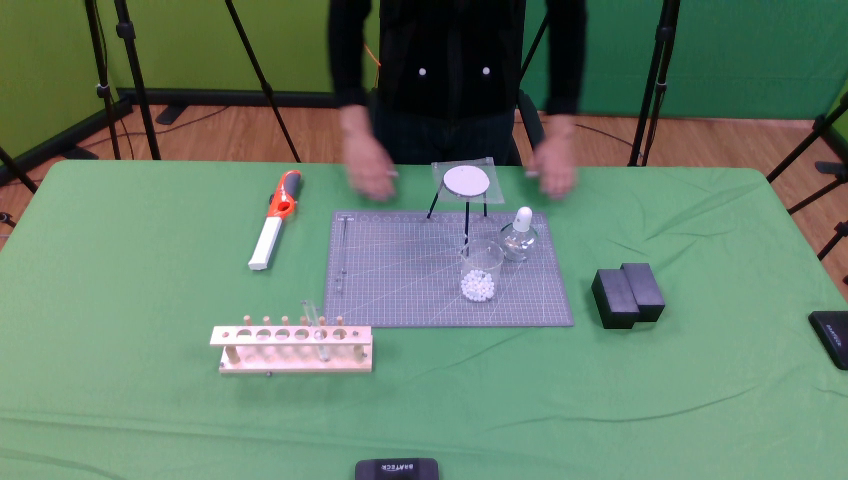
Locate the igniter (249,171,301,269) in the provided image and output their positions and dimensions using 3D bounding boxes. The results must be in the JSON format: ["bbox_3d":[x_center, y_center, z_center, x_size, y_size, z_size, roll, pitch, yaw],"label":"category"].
[{"bbox_3d":[-0.297,-0.049,1.220,0.057,0.025,0.275,-1,45,9],"label":"igniter"}]

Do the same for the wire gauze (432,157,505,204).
[{"bbox_3d":[0.081,-0.112,1.137,0.125,0.011,0.120,-2,48,-6],"label":"wire gauze"}]

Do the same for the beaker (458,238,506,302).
[{"bbox_3d":[0.099,0.057,1.093,0.084,0.101,0.073,6,46,3],"label":"beaker"}]

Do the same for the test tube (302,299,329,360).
[{"bbox_3d":[-0.167,0.142,0.937,0.017,0.151,0.017,-2,47,2],"label":"test tube"}]

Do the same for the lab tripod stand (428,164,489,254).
[{"bbox_3d":[0.078,-0.068,1.188,0.148,0.132,0.147,3,47,-3],"label":"lab tripod stand"}]

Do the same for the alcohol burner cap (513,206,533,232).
[{"bbox_3d":[0.186,-0.042,1.134,0.034,0.048,0.033,6,41,-5],"label":"alcohol burner cap"}]

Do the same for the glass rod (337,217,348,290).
[{"bbox_3d":[-0.158,0.022,1.172,0.008,0.008,0.198,1,43,-2],"label":"glass rod"}]

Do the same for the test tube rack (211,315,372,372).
[{"bbox_3d":[-0.208,0.163,0.982,0.242,0.085,0.066,1,46,-4],"label":"test tube rack"}]

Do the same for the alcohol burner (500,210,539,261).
[{"bbox_3d":[0.185,-0.016,1.160,0.078,0.119,0.077,2,48,-2],"label":"alcohol burner"}]
